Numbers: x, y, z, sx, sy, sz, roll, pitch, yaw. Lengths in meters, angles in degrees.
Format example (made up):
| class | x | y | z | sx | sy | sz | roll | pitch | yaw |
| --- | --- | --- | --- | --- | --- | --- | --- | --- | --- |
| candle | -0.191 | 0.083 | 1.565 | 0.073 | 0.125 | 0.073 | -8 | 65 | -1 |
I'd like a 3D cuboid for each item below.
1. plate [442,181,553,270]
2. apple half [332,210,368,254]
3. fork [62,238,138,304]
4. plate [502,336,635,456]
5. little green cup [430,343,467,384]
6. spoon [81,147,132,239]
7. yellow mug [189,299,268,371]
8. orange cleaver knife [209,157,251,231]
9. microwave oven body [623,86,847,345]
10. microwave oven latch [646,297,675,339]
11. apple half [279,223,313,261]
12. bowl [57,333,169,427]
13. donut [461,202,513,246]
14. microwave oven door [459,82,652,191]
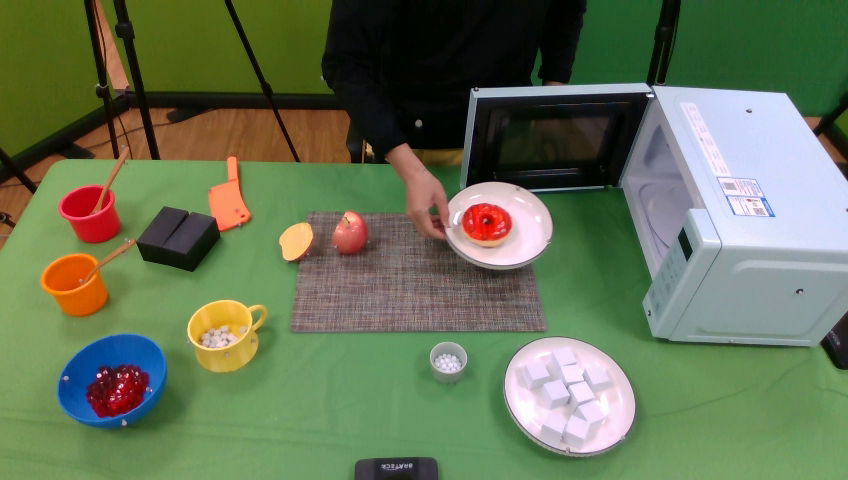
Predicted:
| class | x | y | z | sx | sy | sz | roll | pitch | yaw |
| --- | --- | --- | --- | --- | --- | --- | --- | --- | --- |
| plate | 0.137 | -0.024 | 1.143 | 0.209 | 0.038 | 0.208 | 1 | 52 | -1 |
| apple half | -0.136 | -0.010 | 1.158 | 0.053 | 0.075 | 0.080 | 17 | 44 | 7 |
| fork | -0.547 | 0.053 | 1.018 | 0.207 | 0.019 | 0.028 | -36 | 41 | 23 |
| plate | 0.225 | 0.248 | 0.964 | 0.208 | 0.039 | 0.206 | 2 | 46 | -2 |
| little green cup | 0.039 | 0.203 | 0.994 | 0.061 | 0.039 | 0.061 | 2 | 46 | -2 |
| spoon | -0.603 | -0.089 | 1.156 | 0.041 | 0.022 | 0.193 | 27 | 94 | 20 |
| yellow mug | -0.316 | 0.148 | 1.002 | 0.131 | 0.064 | 0.099 | -33 | 56 | -31 |
| orange cleaver knife | -0.409 | -0.099 | 1.266 | 0.077 | 0.012 | 0.210 | -14 | 50 | -10 |
| microwave oven body | 0.567 | -0.053 | 1.118 | 0.326 | 0.261 | 0.439 | 2 | 45 | -1 |
| microwave oven latch | 0.412 | 0.134 | 1.061 | 0.030 | 0.029 | 0.078 | 4 | 45 | 1 |
| apple half | -0.237 | 0.007 | 1.157 | 0.081 | 0.033 | 0.081 | -14 | 58 | 23 |
| bowl | -0.456 | 0.223 | 0.912 | 0.151 | 0.077 | 0.150 | 3 | 45 | -2 |
| donut | 0.118 | -0.030 | 1.133 | 0.099 | 0.048 | 0.098 | 1 | 50 | -1 |
| microwave oven door | 0.259 | -0.204 | 1.236 | 0.356 | 0.245 | 0.039 | -4 | 46 | -7 |
